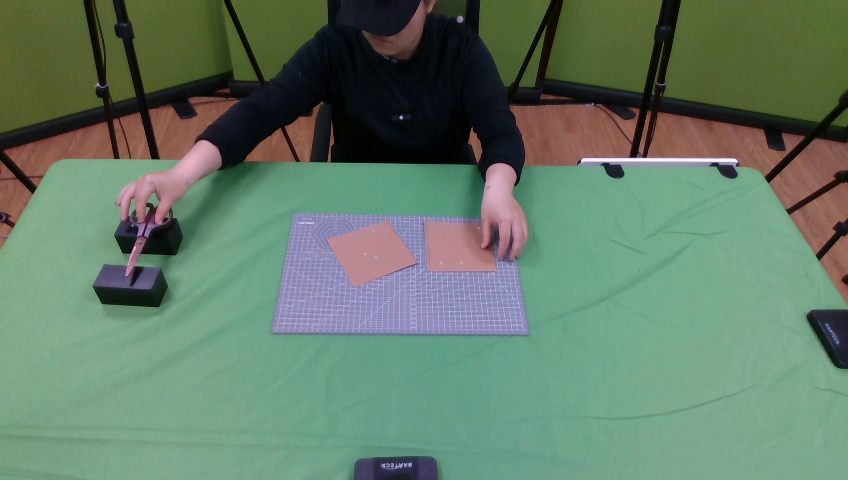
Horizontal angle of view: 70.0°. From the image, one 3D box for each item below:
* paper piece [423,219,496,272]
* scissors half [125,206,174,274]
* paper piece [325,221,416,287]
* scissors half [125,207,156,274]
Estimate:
[{"bbox_3d":[0.068,0.011,1.198,0.138,0.009,0.135,2,50,-5],"label":"paper piece"},{"bbox_3d":[-0.491,-0.003,1.081,0.040,0.013,0.174,1,43,10],"label":"scissors half"},{"bbox_3d":[-0.105,0.022,1.174,0.135,0.004,0.135,-19,50,-21],"label":"paper piece"},{"bbox_3d":[-0.511,-0.002,1.081,0.040,0.013,0.174,-6,42,-6],"label":"scissors half"}]
